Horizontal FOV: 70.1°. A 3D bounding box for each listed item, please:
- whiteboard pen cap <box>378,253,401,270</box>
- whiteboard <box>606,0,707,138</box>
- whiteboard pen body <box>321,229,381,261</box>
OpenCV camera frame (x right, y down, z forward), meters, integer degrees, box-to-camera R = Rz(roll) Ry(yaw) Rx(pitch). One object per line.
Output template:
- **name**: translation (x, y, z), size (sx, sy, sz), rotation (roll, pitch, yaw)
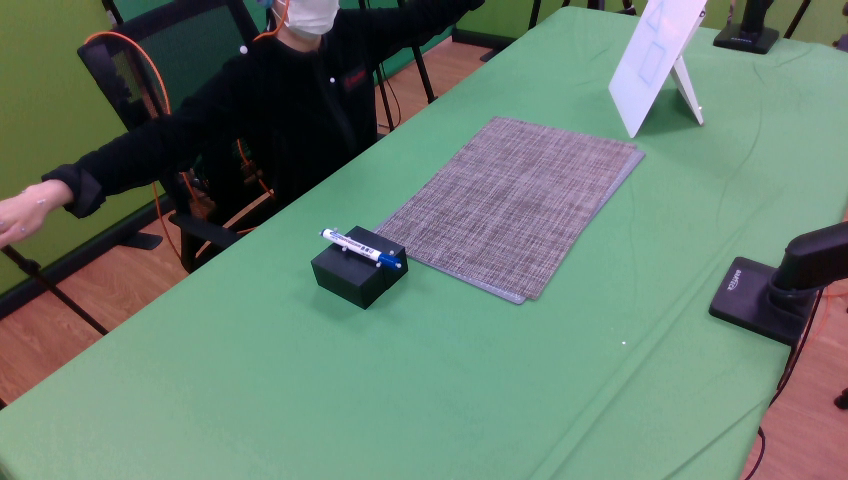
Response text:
- **whiteboard pen cap**: translation (-0.051, 0.030, 0.870), size (0.033, 0.018, 0.018), rotation (21, 48, 28)
- **whiteboard**: translation (0.496, -0.359, 1.147), size (0.144, 0.305, 0.216), rotation (12, 40, -7)
- **whiteboard pen body**: translation (-0.100, 0.010, 0.901), size (0.139, 0.017, 0.017), rotation (22, 48, 30)
